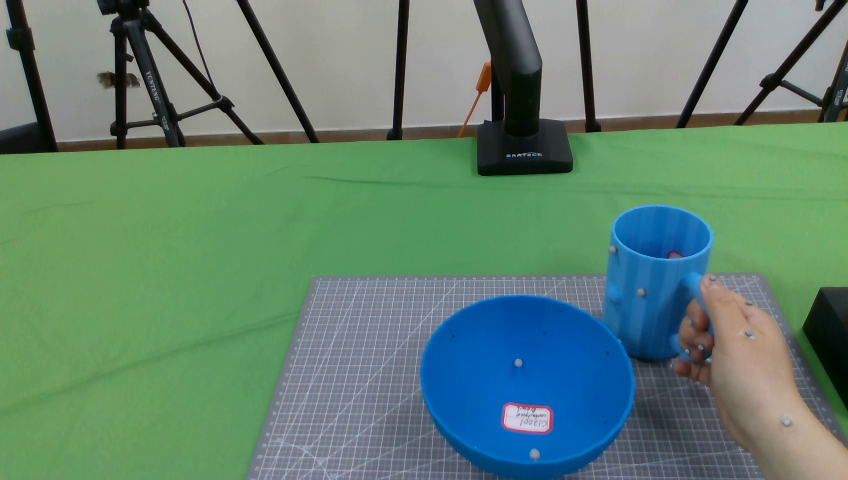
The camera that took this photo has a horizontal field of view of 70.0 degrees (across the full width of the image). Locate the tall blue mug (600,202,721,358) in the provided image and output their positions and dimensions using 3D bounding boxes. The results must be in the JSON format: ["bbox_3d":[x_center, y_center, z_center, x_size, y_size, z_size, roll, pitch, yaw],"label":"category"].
[{"bbox_3d":[0.204,0.038,0.505,0.106,0.109,0.078,26,47,36],"label":"tall blue mug"}]

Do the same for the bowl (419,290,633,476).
[{"bbox_3d":[0.073,0.117,0.453,0.151,0.077,0.150,-3,39,3],"label":"bowl"}]
